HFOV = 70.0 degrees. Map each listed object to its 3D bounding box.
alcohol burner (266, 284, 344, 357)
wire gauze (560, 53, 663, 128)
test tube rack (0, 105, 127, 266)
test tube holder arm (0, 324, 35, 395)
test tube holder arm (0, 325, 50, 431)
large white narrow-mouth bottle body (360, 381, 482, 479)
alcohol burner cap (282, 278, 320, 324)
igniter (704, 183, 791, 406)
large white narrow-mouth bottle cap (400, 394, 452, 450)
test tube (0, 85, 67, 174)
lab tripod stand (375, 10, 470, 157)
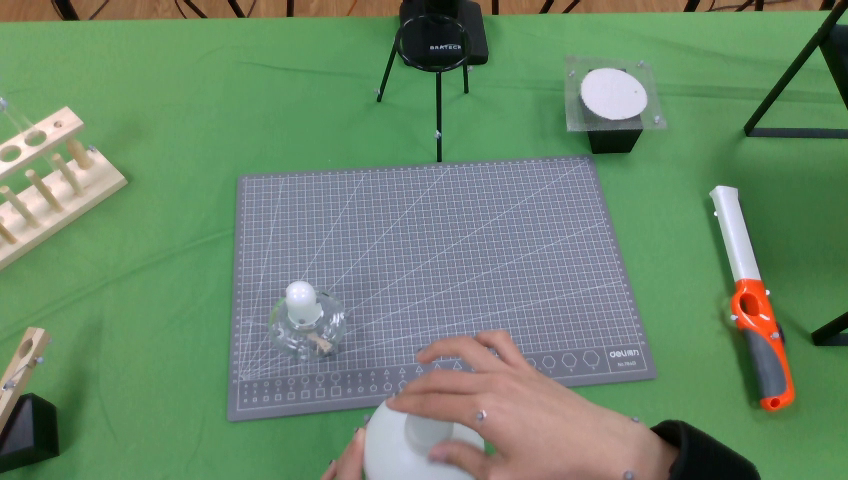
[{"bbox_3d":[-0.119,0.072,0.603,0.078,0.120,0.077,3,60,-4],"label":"alcohol burner"},{"bbox_3d":[0.236,-0.191,0.776,0.121,0.011,0.124,3,61,-2],"label":"wire gauze"},{"bbox_3d":[-0.462,-0.037,0.657,0.066,0.086,0.242,41,67,17],"label":"test tube rack"},{"bbox_3d":[-0.382,0.121,0.563,0.010,0.015,0.087,6,62,6],"label":"test tube holder arm"},{"bbox_3d":[-0.383,0.161,0.541,0.013,0.015,0.177,7,62,7],"label":"test tube holder arm"},{"bbox_3d":[-0.003,0.175,0.513,0.102,0.196,0.101,1,61,-2],"label":"large white narrow-mouth bottle body"},{"bbox_3d":[-0.118,0.055,0.571,0.034,0.048,0.033,1,56,0],"label":"alcohol burner cap"},{"bbox_3d":[0.370,0.053,0.698,0.057,0.025,0.274,7,61,-12],"label":"igniter"},{"bbox_3d":[0.001,0.131,0.436,0.038,0.024,0.037,2,61,-3],"label":"large white narrow-mouth bottle cap"},{"bbox_3d":[-0.425,-0.118,0.647,0.017,0.151,0.017,0,60,0],"label":"test tube"},{"bbox_3d":[0.007,-0.199,0.750,0.148,0.132,0.147,2,62,-4],"label":"lab tripod stand"}]
